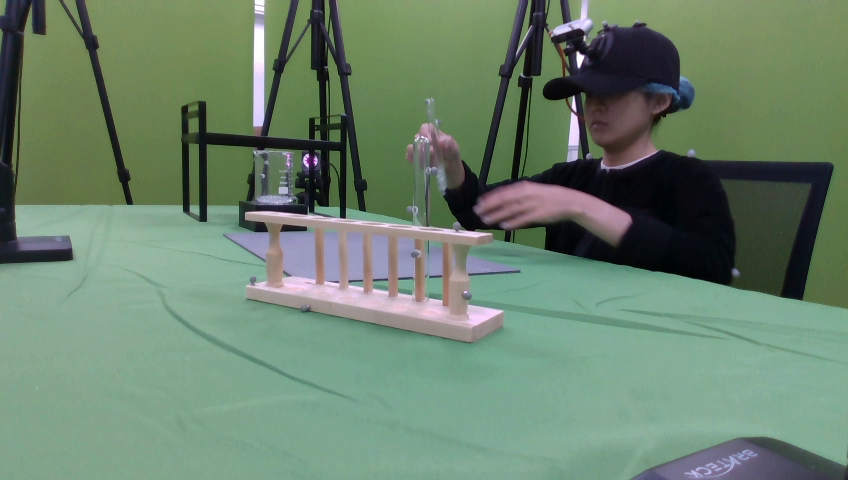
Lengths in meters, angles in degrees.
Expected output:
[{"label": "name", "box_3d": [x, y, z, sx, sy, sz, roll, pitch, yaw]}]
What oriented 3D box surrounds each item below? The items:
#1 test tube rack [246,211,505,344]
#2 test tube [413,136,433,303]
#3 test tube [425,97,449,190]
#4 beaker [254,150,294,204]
[{"label": "test tube rack", "box_3d": [-0.049, 0.025, 0.547, 0.241, 0.085, 0.067, 7, 8, 29]}, {"label": "test tube", "box_3d": [-0.001, -0.016, 0.538, 0.017, 0.150, 0.017, 1, 8, 0]}, {"label": "test tube", "box_3d": [0.021, -0.154, 0.970, 0.017, 0.150, 0.017, -10, 4, 1]}, {"label": "beaker", "box_3d": [-0.289, -0.120, 1.151, 0.073, 0.100, 0.084, 8, 9, 33]}]
